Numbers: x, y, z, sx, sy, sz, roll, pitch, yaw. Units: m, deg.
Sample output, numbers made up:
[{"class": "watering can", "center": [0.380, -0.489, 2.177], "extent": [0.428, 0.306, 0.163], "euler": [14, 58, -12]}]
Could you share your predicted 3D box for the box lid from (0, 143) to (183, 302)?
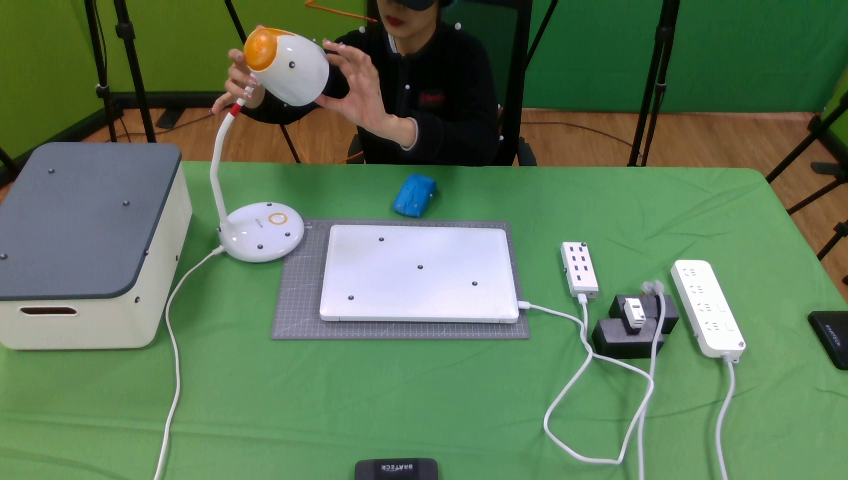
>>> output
[{"class": "box lid", "center": [-0.567, -0.045, 0.999], "extent": [0.263, 0.015, 0.369], "euler": [-1, 46, -4]}]

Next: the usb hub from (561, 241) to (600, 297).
[{"class": "usb hub", "center": [0.300, 0.055, 1.162], "extent": [0.049, 0.025, 0.124], "euler": [3, 46, -3]}]

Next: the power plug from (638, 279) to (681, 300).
[{"class": "power plug", "center": [0.434, 0.099, 1.118], "extent": [0.073, 0.053, 0.035], "euler": [34, 37, -15]}]

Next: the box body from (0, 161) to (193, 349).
[{"class": "box body", "center": [-0.570, 0.006, 1.054], "extent": [0.254, 0.161, 0.361], "euler": [-1, 46, -4]}]

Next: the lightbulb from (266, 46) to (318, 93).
[{"class": "lightbulb", "center": [-0.218, -0.283, 0.994], "extent": [0.059, 0.108, 0.059], "euler": [-9, 70, 26]}]

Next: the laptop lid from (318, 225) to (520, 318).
[{"class": "laptop lid", "center": [-0.009, 0.052, 1.131], "extent": [0.357, 0.013, 0.240], "euler": [2, 43, -2]}]

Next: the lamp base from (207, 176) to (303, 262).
[{"class": "lamp base", "center": [-0.325, -0.065, 1.126], "extent": [0.179, 0.181, 0.159], "euler": [-34, 56, -27]}]

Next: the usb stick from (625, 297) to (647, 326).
[{"class": "usb stick", "center": [0.360, 0.116, 1.034], "extent": [0.021, 0.027, 0.059], "euler": [-2, 44, -2]}]

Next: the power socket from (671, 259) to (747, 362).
[{"class": "power socket", "center": [0.516, 0.119, 1.108], "extent": [0.072, 0.033, 0.225], "euler": [1, 46, -2]}]

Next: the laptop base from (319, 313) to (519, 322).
[{"class": "laptop base", "center": [-0.009, 0.063, 1.138], "extent": [0.354, 0.023, 0.234], "euler": [1, 42, -3]}]

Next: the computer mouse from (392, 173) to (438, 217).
[{"class": "computer mouse", "center": [-0.018, -0.098, 1.282], "extent": [0.062, 0.041, 0.117], "euler": [20, 51, 13]}]

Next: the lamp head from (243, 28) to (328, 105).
[{"class": "lamp head", "center": [-0.234, -0.283, 0.973], "extent": [0.112, 0.112, 0.123], "euler": [31, 12, 24]}]
